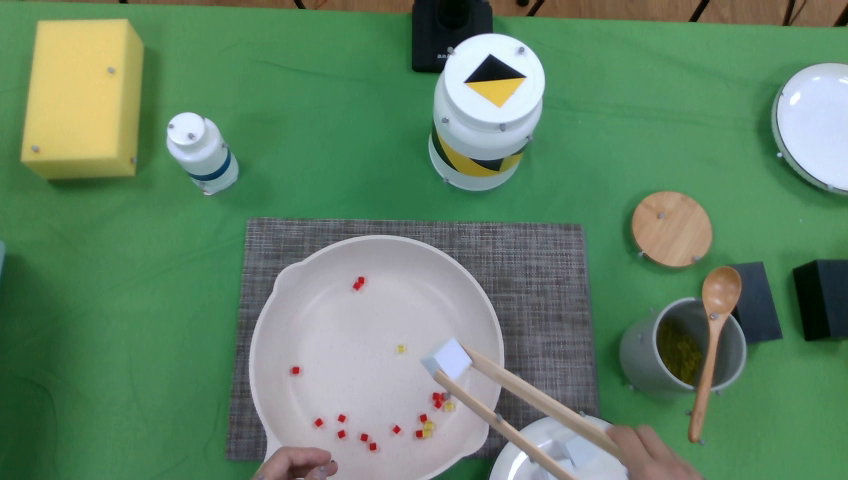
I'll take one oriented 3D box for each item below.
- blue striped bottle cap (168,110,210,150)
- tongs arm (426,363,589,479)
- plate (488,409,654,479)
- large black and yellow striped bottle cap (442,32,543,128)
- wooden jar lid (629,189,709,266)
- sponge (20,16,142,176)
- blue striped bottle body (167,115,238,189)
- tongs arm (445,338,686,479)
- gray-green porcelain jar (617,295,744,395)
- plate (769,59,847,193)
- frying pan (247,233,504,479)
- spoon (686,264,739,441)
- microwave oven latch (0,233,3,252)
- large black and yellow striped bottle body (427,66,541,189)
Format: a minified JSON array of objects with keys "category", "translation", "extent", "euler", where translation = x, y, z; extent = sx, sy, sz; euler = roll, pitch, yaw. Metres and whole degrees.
[{"category":"blue striped bottle cap","translation":[-0.278,-0.130,0.714],"extent":[0.044,0.021,0.044],"euler":[1,75,-3]},{"category":"tongs arm","translation":[0.167,0.215,0.537],"extent":[0.382,0.027,0.050],"euler":[35,54,18]},{"category":"plate","translation":[0.174,0.304,0.709],"extent":[0.208,0.039,0.206],"euler":[1,75,-3]},{"category":"large black and yellow striped bottle cap","translation":[0.078,-0.182,0.685],"extent":[0.115,0.019,0.114],"euler":[1,75,-3]},{"category":"wooden jar lid","translation":[0.331,-0.016,0.824],"extent":[0.108,0.021,0.108],"euler":[1,75,-3]},{"category":"sponge","translation":[-0.451,-0.192,0.806],"extent":[0.118,0.061,0.205],"euler":[-4,75,-5]},{"category":"blue striped bottle body","translation":[-0.280,-0.114,0.763],"extent":[0.063,0.121,0.062],"euler":[1,73,-3]},{"category":"tongs arm","translation":[0.180,0.201,0.551],"extent":[0.385,0.028,0.028],"euler":[31,49,15]},{"category":"gray-green porcelain jar","translation":[0.297,0.130,0.723],"extent":[0.106,0.127,0.105],"euler":[1,73,-3]},{"category":"plate","translation":[0.595,-0.161,0.872],"extent":[0.209,0.038,0.208],"euler":[1,73,-3]},{"category":"frying pan","translation":[-0.121,0.208,0.683],"extent":[0.306,0.103,0.487],"euler":[41,67,9]},{"category":"spoon","translation":[0.306,0.120,0.654],"extent":[0.041,0.022,0.193],"euler":[17,77,-1]},{"category":"microwave oven latch","translation":[-0.534,0.026,0.730],"extent":[0.030,0.029,0.078],"euler":[4,74,-2]},{"category":"large black and yellow striped bottle body","translation":[0.073,-0.156,0.765],"extent":[0.131,0.185,0.130],"euler":[1,73,-3]}]
